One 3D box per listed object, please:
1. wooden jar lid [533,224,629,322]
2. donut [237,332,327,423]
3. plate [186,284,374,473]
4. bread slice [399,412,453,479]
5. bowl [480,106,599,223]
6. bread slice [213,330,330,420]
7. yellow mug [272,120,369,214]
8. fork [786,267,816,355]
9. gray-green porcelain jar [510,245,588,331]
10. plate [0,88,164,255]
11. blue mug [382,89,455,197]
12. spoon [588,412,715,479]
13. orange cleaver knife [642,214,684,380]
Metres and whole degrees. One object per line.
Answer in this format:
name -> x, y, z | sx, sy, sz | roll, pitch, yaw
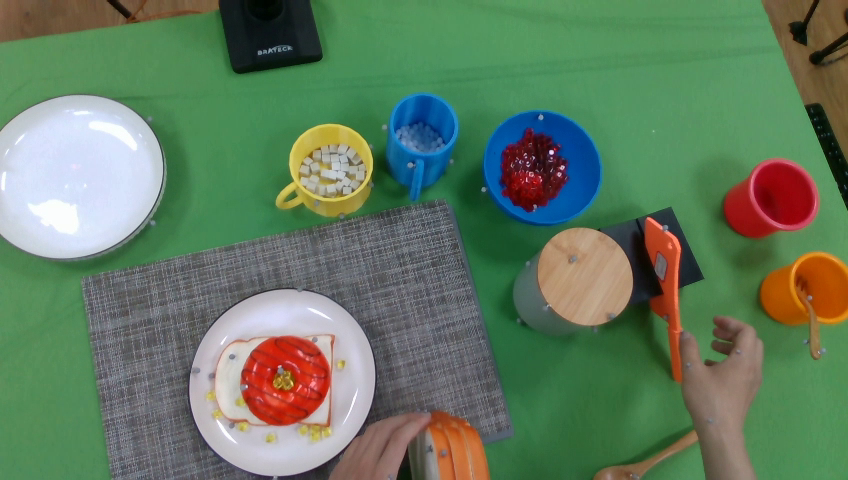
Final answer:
wooden jar lid -> 0.170, 0.036, 0.661 | 0.108, 0.021, 0.108 | 2, 78, -9
donut -> -0.156, 0.151, 0.669 | 0.099, 0.048, 0.098 | 2, 78, -10
plate -> -0.161, 0.155, 0.697 | 0.209, 0.038, 0.208 | 2, 76, -6
bread slice -> 0.002, 0.238, 0.651 | 0.018, 0.134, 0.106 | -6, 76, -17
bowl -> 0.139, -0.086, 0.777 | 0.151, 0.077, 0.150 | 2, 76, -6
bread slice -> -0.175, 0.157, 0.699 | 0.132, 0.019, 0.104 | 1, 75, -11
yellow mug -> -0.130, -0.081, 0.748 | 0.131, 0.064, 0.099 | -35, 82, -12
fork -> 0.462, 0.083, 0.738 | 0.028, 0.018, 0.207 | 49, 32, 0
gray-green porcelain jar -> 0.163, 0.053, 0.721 | 0.106, 0.127, 0.105 | 2, 76, -7
plate -> -0.417, -0.080, 0.727 | 0.208, 0.039, 0.206 | 2, 76, -7
blue mug -> -0.011, -0.110, 0.751 | 0.082, 0.106, 0.116 | 7, 75, -5
spoon -> 0.282, 0.258, 0.738 | 0.194, 0.022, 0.041 | -25, 62, -12
orange cleaver knife -> 0.296, 0.072, 0.755 | 0.012, 0.076, 0.212 | -15, 108, -8
